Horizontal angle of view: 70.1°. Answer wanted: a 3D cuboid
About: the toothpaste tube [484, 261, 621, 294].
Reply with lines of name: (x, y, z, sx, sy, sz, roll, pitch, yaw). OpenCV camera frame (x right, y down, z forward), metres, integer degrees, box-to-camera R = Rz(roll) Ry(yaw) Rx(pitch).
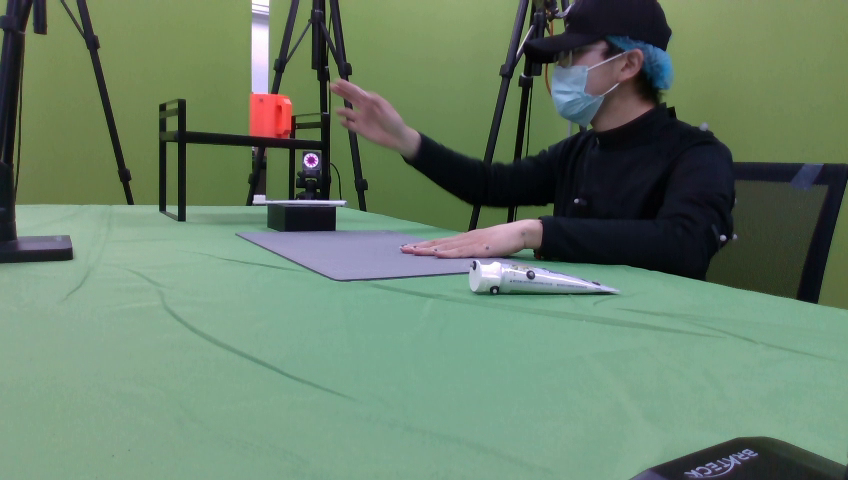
toothpaste tube: (0.136, 0.045, 0.674, 0.166, 0.034, 0.055, 4, 11, -18)

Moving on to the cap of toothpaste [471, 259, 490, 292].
cap of toothpaste: (0.061, 0.038, 0.651, 0.011, 0.037, 0.037, 4, 7, -18)

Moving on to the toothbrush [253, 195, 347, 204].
toothbrush: (-0.234, -0.076, 1.154, 0.183, 0.016, 0.014, -1, 5, -27)

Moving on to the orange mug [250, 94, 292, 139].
orange mug: (-0.339, -0.279, 1.364, 0.125, 0.100, 0.084, 4, 6, 45)
